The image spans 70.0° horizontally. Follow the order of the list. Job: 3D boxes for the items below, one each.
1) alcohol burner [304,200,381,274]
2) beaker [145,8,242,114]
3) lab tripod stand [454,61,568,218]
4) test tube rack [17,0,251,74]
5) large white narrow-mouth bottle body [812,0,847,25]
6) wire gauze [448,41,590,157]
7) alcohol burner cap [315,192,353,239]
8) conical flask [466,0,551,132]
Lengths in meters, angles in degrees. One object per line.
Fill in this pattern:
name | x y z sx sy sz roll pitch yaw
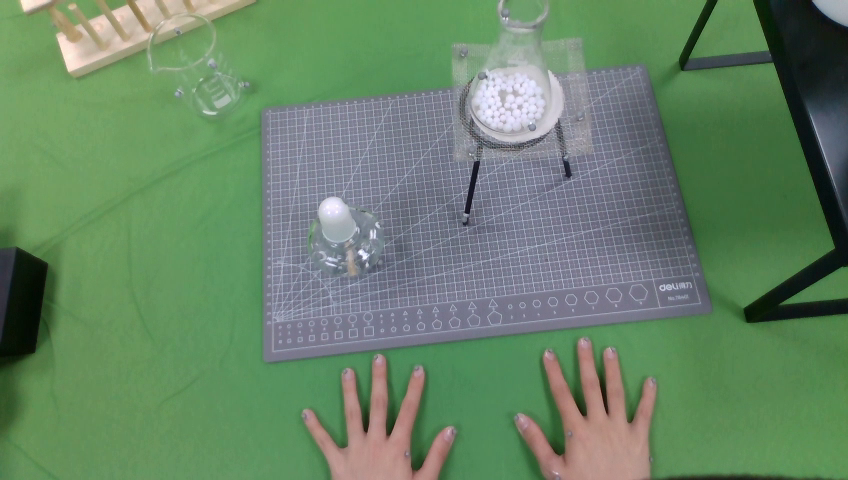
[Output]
alcohol burner | -0.082 -0.010 0.591 0.078 0.120 0.077 0 68 1
beaker | -0.254 -0.193 0.678 0.073 0.101 0.084 39 77 16
lab tripod stand | 0.080 -0.103 0.605 0.148 0.132 0.147 -1 68 2
test tube rack | -0.341 -0.296 0.728 0.242 0.086 0.066 -25 70 -6
large white narrow-mouth bottle body | 0.362 -0.250 0.422 0.102 0.196 0.101 -1 68 3
wire gauze | 0.083 -0.131 0.544 0.121 0.011 0.124 0 68 0
alcohol burner cap | -0.085 -0.025 0.557 0.034 0.048 0.033 0 63 1
conical flask | 0.072 -0.148 0.488 0.075 0.122 0.075 -1 69 3
